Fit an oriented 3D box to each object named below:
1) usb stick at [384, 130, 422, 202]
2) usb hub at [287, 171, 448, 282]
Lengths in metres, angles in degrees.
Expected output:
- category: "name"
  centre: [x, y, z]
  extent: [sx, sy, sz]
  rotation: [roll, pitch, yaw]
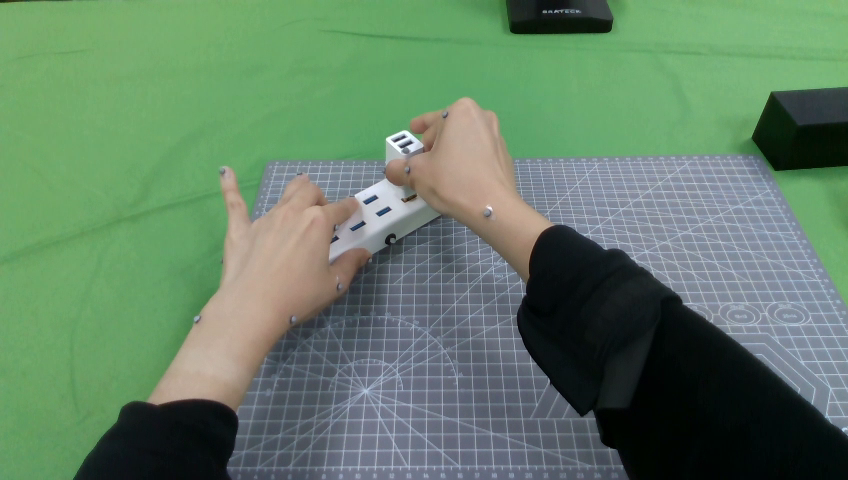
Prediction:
- category: "usb stick"
  centre: [-0.017, -0.054, 0.474]
  extent: [0.021, 0.059, 0.027]
  rotation: [-31, 54, -26]
- category: "usb hub"
  centre: [-0.043, -0.017, 0.487]
  extent: [0.125, 0.025, 0.049]
  rotation: [-30, 52, -25]
